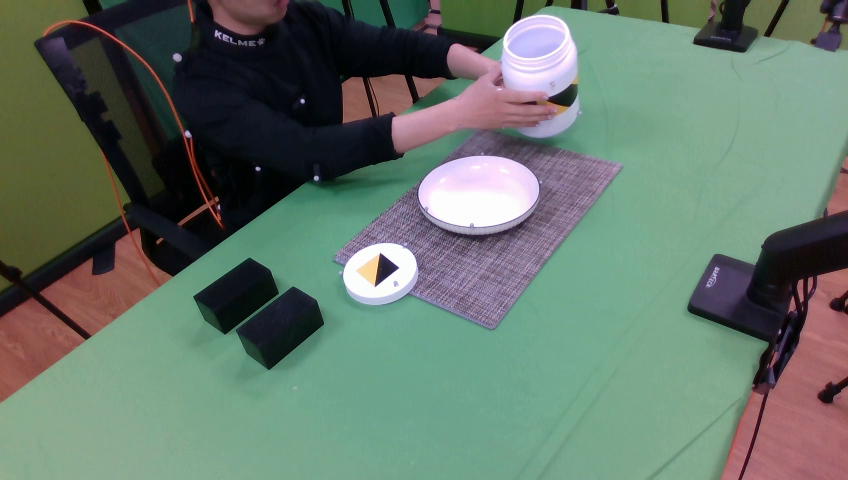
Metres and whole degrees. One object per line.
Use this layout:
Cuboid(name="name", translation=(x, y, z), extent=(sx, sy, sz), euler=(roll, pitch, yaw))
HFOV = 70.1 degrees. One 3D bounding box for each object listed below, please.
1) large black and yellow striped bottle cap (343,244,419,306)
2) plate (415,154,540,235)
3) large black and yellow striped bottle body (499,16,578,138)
Cuboid(name="large black and yellow striped bottle cap", translation=(-0.066, 0.051, 0.918), extent=(0.115, 0.019, 0.114), euler=(-6, 43, 6))
Cuboid(name="plate", translation=(0.090, -0.074, 1.025), extent=(0.207, 0.039, 0.206), euler=(-4, 41, 4))
Cuboid(name="large black and yellow striped bottle body", translation=(0.205, -0.287, 1.074), extent=(0.130, 0.185, 0.130), euler=(-8, 57, 12))
